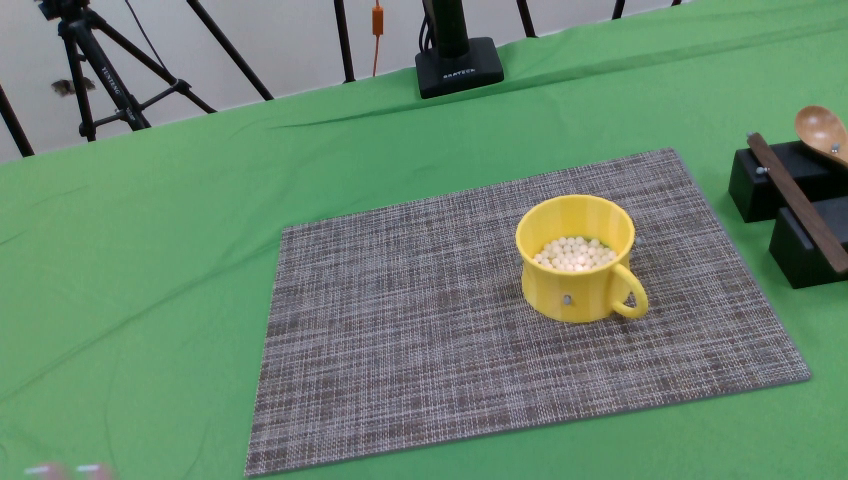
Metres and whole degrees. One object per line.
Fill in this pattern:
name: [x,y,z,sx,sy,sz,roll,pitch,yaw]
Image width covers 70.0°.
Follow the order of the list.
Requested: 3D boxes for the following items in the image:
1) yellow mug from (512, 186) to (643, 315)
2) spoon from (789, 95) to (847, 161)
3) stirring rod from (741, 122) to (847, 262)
yellow mug: [0.140,0.015,0.532,0.100,0.064,0.129,-34,48,-17]
spoon: [0.365,-0.059,0.507,0.041,0.022,0.191,-10,47,4]
stirring rod: [0.310,-0.047,0.515,0.014,0.006,0.174,-41,34,31]
